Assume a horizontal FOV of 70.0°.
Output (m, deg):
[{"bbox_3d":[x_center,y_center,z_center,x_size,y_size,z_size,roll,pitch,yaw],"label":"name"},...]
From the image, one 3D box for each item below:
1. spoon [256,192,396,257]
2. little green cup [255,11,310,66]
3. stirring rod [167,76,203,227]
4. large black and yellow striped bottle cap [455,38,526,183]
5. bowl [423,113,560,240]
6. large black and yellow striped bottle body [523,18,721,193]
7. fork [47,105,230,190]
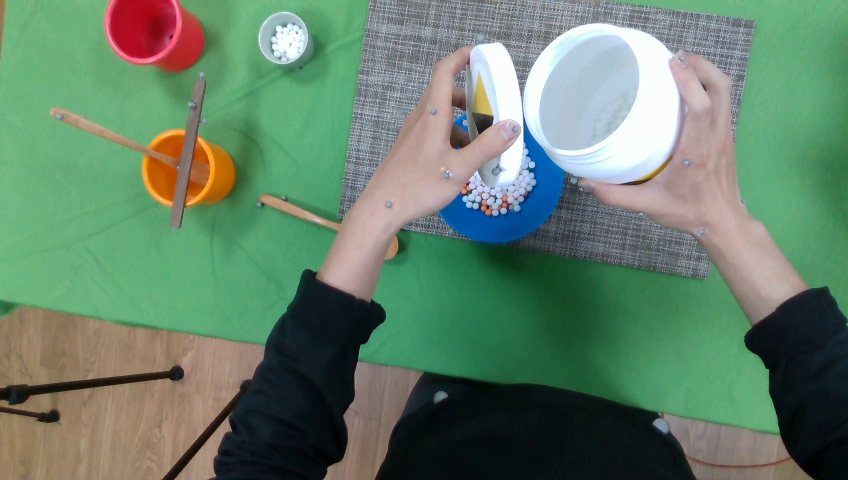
[{"bbox_3d":[-0.124,-0.026,0.755,0.193,0.021,0.042,20,109,5],"label":"spoon"},{"bbox_3d":[-0.170,-0.243,0.741,0.061,0.038,0.061,0,93,8],"label":"little green cup"},{"bbox_3d":[-0.277,-0.102,0.703,0.014,0.006,0.176,12,94,5],"label":"stirring rod"},{"bbox_3d":[0.051,-0.104,0.494,0.019,0.114,0.115,-7,92,-16],"label":"large black and yellow striped bottle cap"},{"bbox_3d":[0.078,-0.077,0.696,0.151,0.077,0.151,0,93,7],"label":"bowl"},{"bbox_3d":[0.183,-0.119,0.560,0.130,0.185,0.130,-5,83,40],"label":"large black and yellow striped bottle body"},{"bbox_3d":[-0.328,-0.107,0.712,0.209,0.018,0.028,24,100,-38],"label":"fork"}]
